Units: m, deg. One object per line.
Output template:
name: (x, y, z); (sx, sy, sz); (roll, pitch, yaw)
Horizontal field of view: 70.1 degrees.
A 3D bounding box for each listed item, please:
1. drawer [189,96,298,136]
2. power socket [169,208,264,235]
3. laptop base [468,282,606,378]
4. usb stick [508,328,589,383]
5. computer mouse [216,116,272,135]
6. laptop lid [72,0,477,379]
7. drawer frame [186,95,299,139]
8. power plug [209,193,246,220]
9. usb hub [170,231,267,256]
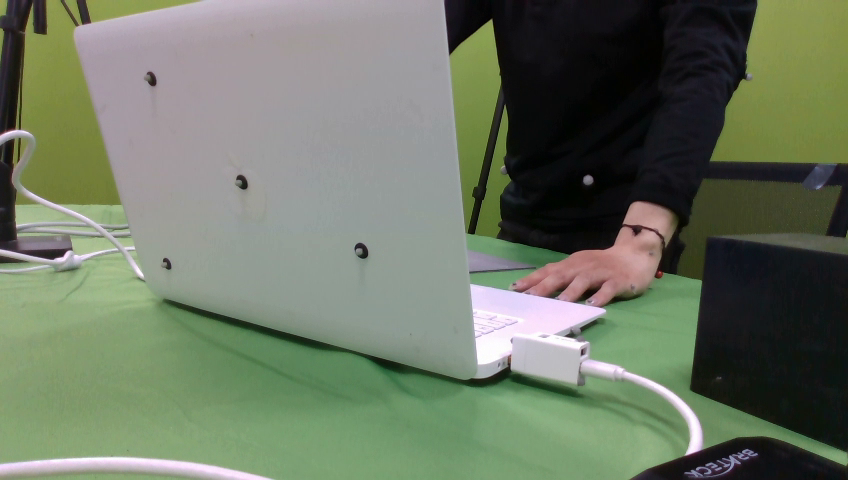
drawer: (-0.414, -0.276, 1.376); (0.195, 0.073, 0.210); (-3, 9, -31)
power socket: (-0.381, -0.038, 1.128); (0.072, 0.032, 0.227); (4, 8, 16)
laptop base: (-0.042, 0.058, 0.554); (0.352, 0.023, 0.237); (7, 7, 35)
usb stick: (0.072, 0.072, 0.383); (0.059, 0.027, 0.021); (2, 2, 34)
computer mouse: (-0.402, -0.258, 1.353); (0.118, 0.041, 0.062); (-6, 16, -34)
laptop lid: (-0.125, -0.042, 0.418); (0.355, 0.241, 0.013); (9, 25, 34)
drawer frame: (-0.417, -0.277, 1.378); (0.203, 0.082, 0.212); (-3, 8, -32)
power plug: (-0.388, -0.067, 1.205); (0.072, 0.052, 0.035); (3, 8, 26)
usb hub: (-0.290, 0.005, 0.862); (0.049, 0.025, 0.126); (10, 11, 42)
